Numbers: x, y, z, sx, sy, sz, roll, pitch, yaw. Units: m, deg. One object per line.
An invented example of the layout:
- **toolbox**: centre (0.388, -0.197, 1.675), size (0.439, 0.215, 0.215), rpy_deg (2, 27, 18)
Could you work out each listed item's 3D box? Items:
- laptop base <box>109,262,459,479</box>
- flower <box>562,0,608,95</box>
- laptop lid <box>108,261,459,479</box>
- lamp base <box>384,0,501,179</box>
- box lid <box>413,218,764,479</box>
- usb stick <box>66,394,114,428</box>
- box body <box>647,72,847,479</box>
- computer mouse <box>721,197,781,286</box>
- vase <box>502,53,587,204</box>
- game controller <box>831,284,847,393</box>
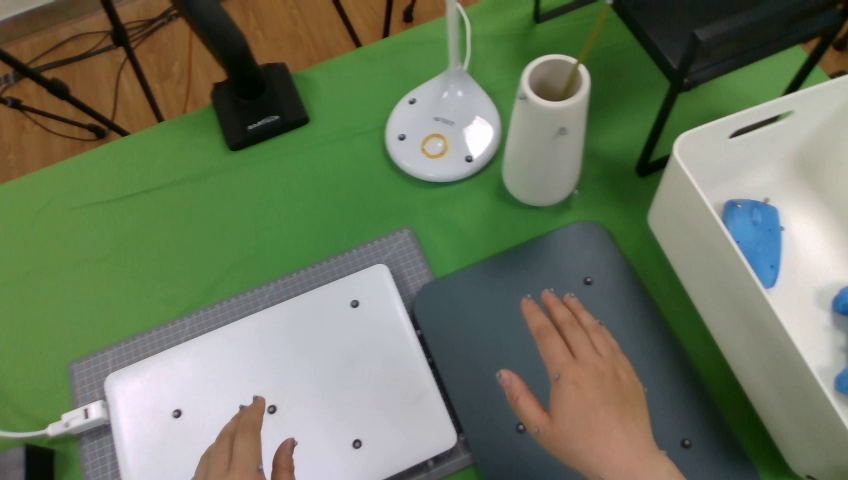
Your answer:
- **laptop base**: centre (-0.164, 0.188, 0.687), size (0.354, 0.023, 0.233), rpy_deg (-22, 69, -6)
- **flower**: centre (0.152, -0.167, 0.636), size (0.038, 0.364, 0.043), rpy_deg (-7, 54, -17)
- **laptop lid**: centre (-0.164, 0.185, 0.676), size (0.357, 0.013, 0.239), rpy_deg (-21, 67, -5)
- **lamp base**: centre (0.021, -0.197, 0.763), size (0.160, 0.182, 0.178), rpy_deg (8, 63, 9)
- **box lid**: centre (0.167, 0.161, 0.676), size (0.263, 0.015, 0.368), rpy_deg (-22, 65, -7)
- **usb stick**: centre (-0.371, 0.192, 0.688), size (0.059, 0.027, 0.021), rpy_deg (-18, 64, -10)
- **box body**: centre (0.432, 0.035, 0.629), size (0.254, 0.161, 0.360), rpy_deg (-20, 65, -4)
- **computer mouse**: centre (0.383, -0.003, 0.713), size (0.062, 0.041, 0.116), rpy_deg (12, 62, 14)
- **vase**: centre (0.141, -0.124, 0.708), size (0.098, 0.201, 0.097), rpy_deg (-3, 63, 6)
- **game controller**: centre (0.496, 0.110, 0.646), size (0.097, 0.052, 0.154), rpy_deg (10, 65, 11)
